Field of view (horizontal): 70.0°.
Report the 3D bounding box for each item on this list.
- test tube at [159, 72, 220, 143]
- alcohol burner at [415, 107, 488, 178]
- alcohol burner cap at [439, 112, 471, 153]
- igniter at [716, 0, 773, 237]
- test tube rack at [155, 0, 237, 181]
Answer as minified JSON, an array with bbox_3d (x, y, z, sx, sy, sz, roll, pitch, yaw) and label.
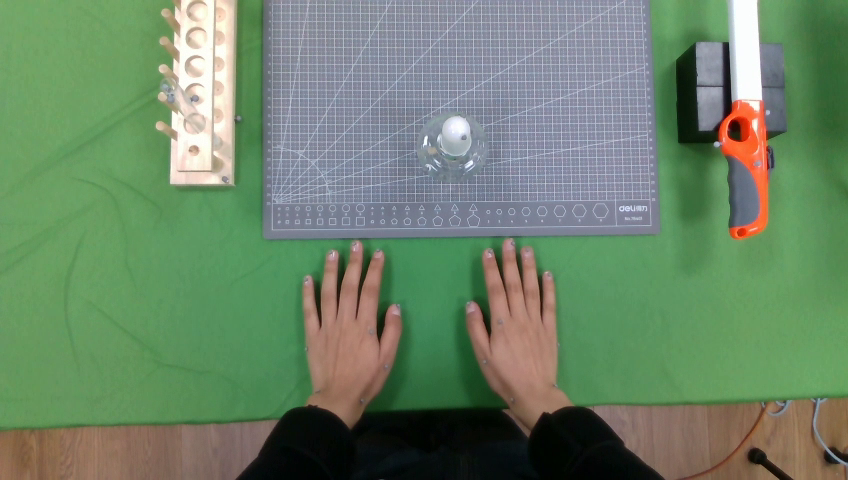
[{"bbox_3d":[-0.225,-0.125,0.593,0.017,0.150,0.017,1,80,-4],"label":"test tube"},{"bbox_3d":[0.030,-0.106,0.635,0.078,0.119,0.078,0,87,-1],"label":"alcohol burner"},{"bbox_3d":[0.031,-0.110,0.600,0.034,0.048,0.033,0,80,1],"label":"alcohol burner cap"},{"bbox_3d":[0.344,-0.140,0.652,0.057,0.025,0.276,2,84,0],"label":"igniter"},{"bbox_3d":[-0.245,-0.189,0.646,0.067,0.085,0.242,0,86,-2],"label":"test tube rack"}]
